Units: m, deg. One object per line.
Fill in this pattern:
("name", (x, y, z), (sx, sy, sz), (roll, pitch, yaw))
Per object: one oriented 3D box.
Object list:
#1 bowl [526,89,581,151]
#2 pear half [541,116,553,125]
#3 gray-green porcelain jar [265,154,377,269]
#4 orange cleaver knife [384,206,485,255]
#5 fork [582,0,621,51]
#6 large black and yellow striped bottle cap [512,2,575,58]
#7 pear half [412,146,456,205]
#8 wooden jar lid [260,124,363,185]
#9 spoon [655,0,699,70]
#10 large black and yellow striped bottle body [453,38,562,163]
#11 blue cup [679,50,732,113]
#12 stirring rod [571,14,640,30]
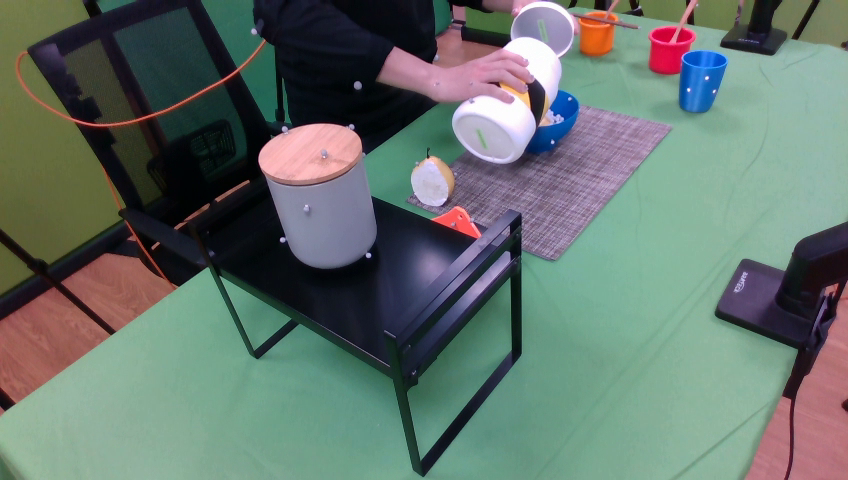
("bowl", (0.220, -0.223, 1.155), (0.151, 0.077, 0.150), (-4, 40, 4))
("pear half", (0.212, -0.227, 1.152), (0.088, 0.031, 0.070), (6, 44, 10))
("gray-green porcelain jar", (-0.112, -0.039, 0.685), (0.106, 0.127, 0.105), (-4, 40, 4))
("orange cleaver knife", (0.012, -0.010, 0.942), (0.012, 0.077, 0.210), (-38, 20, -35))
("fork", (0.446, -0.539, 1.438), (0.207, 0.019, 0.028), (-57, 36, 12))
("large black and yellow striped bottle cap", (0.220, -0.384, 1.118), (0.114, 0.115, 0.019), (8, 55, 17))
("pear half", (0.019, -0.120, 1.042), (0.076, 0.110, 0.056), (11, 43, 16))
("wooden jar lid", (-0.119, -0.088, 0.645), (0.108, 0.021, 0.108), (-4, 40, 4))
("spoon", (0.567, -0.463, 1.337), (0.041, 0.022, 0.193), (30, 97, 38))
("large black and yellow striped bottle body", (0.146, -0.236, 1.018), (0.130, 0.131, 0.184), (20, 67, 29))
("blue cup", (0.545, -0.309, 1.193), (0.092, 0.100, 0.092), (-4, 39, 3))
("stirring rod", (0.419, -0.508, 1.404), (0.174, 0.006, 0.014), (28, 55, 35))
